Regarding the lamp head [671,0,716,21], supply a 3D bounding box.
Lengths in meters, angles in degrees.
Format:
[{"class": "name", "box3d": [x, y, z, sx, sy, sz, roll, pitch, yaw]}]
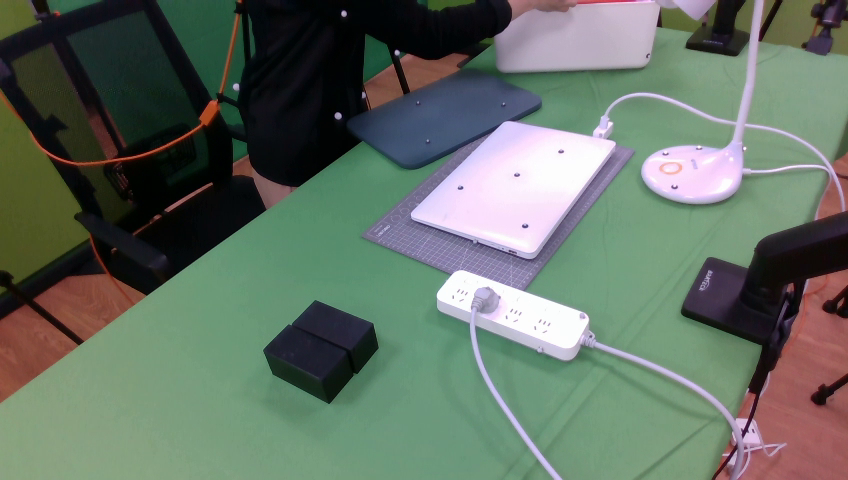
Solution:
[{"class": "lamp head", "box3d": [0.375, -0.373, 0.807, 0.122, 0.113, 0.112, -40, 27, 32]}]

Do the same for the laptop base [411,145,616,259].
[{"class": "laptop base", "box3d": [0.168, -0.101, 1.074, 0.234, 0.023, 0.355, 17, 46, 30]}]

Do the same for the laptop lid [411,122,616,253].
[{"class": "laptop lid", "box3d": [0.165, -0.111, 1.067, 0.240, 0.013, 0.357, 19, 46, 31]}]

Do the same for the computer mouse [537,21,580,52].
[{"class": "computer mouse", "box3d": [0.334, -0.503, 1.488, 0.118, 0.041, 0.062, 21, 21, -27]}]

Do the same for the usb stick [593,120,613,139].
[{"class": "usb stick", "box3d": [0.336, -0.201, 1.147, 0.021, 0.027, 0.059, 26, 53, 27]}]

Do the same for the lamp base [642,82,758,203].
[{"class": "lamp base", "box3d": [0.464, -0.174, 0.992, 0.179, 0.181, 0.159, -5, 41, -1]}]

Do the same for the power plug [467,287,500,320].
[{"class": "power plug", "box3d": [0.073, 0.092, 0.814, 0.035, 0.053, 0.073, 29, 54, 34]}]

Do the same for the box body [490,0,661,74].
[{"class": "box body", "box3d": [0.346, -0.520, 1.429, 0.363, 0.161, 0.253, 0, 41, 9]}]

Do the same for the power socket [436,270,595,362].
[{"class": "power socket", "box3d": [0.118, 0.101, 0.832, 0.225, 0.033, 0.072, 19, 48, 27]}]

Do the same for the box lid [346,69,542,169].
[{"class": "box lid", "box3d": [0.044, -0.272, 1.299, 0.373, 0.015, 0.261, -29, 44, -24]}]
